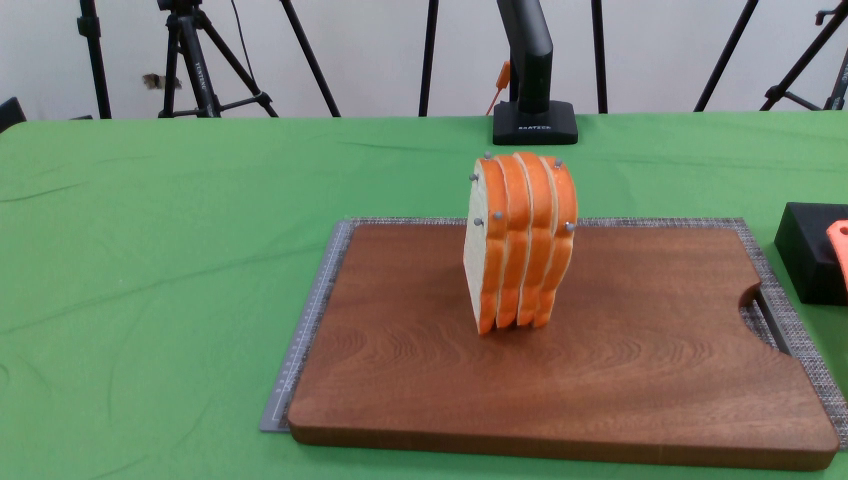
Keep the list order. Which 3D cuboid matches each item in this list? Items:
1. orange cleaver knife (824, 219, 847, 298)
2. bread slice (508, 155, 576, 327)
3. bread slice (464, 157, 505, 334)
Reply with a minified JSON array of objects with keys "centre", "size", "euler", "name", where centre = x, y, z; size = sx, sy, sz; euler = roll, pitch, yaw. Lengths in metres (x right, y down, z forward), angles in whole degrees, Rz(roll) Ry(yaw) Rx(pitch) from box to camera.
[{"centre":[0.382,0.061,0.505],"size":[0.077,0.012,0.210],"euler":[11,57,13],"name":"orange cleaver knife"},{"centre":[0.102,-0.005,0.528],"size":[0.019,0.132,0.104],"euler":[2,38,-8],"name":"bread slice"},{"centre":[0.052,-0.003,0.530],"size":[0.018,0.135,0.106],"euler":[-1,33,-4],"name":"bread slice"}]
